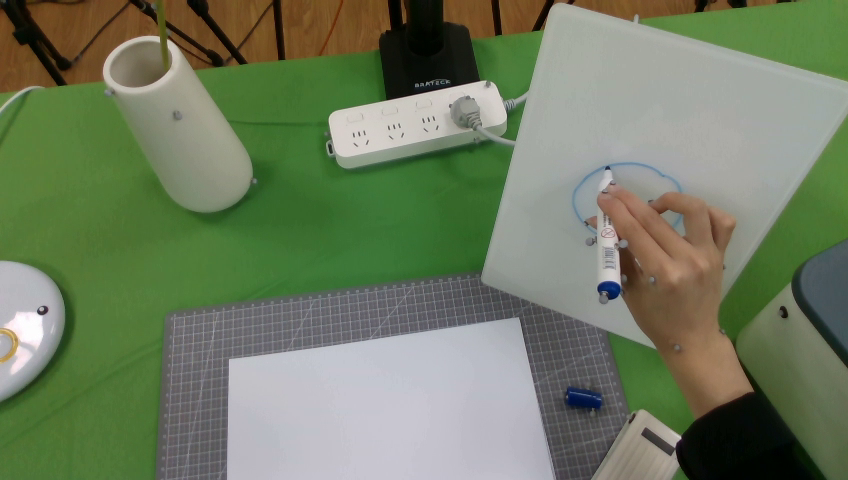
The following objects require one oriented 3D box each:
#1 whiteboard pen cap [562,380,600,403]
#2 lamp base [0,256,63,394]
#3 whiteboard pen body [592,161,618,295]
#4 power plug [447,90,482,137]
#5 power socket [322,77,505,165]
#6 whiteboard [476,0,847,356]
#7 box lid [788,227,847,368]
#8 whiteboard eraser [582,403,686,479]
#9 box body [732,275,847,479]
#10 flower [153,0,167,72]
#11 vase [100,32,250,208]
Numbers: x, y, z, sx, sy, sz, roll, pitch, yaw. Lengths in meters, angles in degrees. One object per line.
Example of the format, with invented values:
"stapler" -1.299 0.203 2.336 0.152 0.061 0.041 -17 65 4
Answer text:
"whiteboard pen cap" 0.151 0.147 0.584 0.033 0.018 0.018 10 64 3
"lamp base" -0.468 0.049 0.556 0.178 0.182 0.160 22 65 15
"whiteboard pen body" 0.136 -0.016 0.455 0.017 0.017 0.139 9 47 6
"power plug" 0.045 -0.139 0.698 0.035 0.053 0.072 -3 70 0
"power socket" -0.011 -0.144 0.726 0.227 0.033 0.071 -12 65 -5
"whiteboard" 0.198 -0.070 0.568 0.216 0.308 0.143 21 45 12
"box lid" 0.474 0.114 0.431 0.263 0.015 0.368 -25 66 -10
"whiteboard eraser" 0.181 0.205 0.540 0.055 0.042 0.112 34 69 18
"box body" 0.477 0.150 0.497 0.254 0.161 0.360 -24 65 -11
"flower" -0.232 -0.148 0.548 0.038 0.362 0.044 40 61 1
"vase" -0.251 -0.115 0.624 0.098 0.201 0.097 -1 63 2
